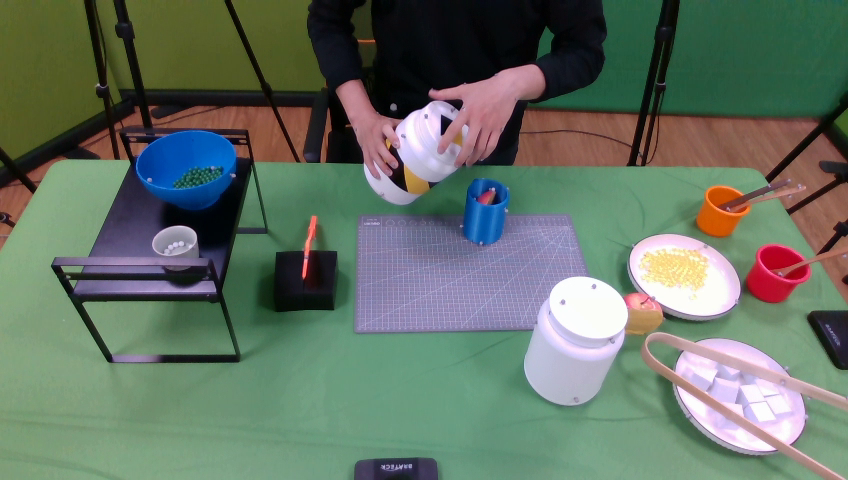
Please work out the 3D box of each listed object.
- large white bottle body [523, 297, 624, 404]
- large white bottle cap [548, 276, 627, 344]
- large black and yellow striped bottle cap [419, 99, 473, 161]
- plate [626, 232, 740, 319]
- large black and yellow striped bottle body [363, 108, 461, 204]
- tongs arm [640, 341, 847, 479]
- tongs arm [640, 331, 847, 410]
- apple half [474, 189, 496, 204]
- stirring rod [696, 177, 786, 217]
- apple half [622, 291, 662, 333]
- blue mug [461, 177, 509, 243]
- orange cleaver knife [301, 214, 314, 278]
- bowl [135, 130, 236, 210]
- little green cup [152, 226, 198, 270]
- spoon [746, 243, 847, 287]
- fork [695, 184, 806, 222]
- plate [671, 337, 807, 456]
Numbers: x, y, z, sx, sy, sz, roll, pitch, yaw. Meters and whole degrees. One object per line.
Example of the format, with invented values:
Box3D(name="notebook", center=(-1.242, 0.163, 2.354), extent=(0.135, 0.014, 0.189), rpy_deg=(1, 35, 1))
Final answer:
Box3D(name="large white bottle body", center=(0.235, 0.159, 0.952), extent=(0.131, 0.185, 0.130), rpy_deg=(2, 47, -2))
Box3D(name="large white bottle cap", center=(0.240, 0.100, 0.890), extent=(0.115, 0.018, 0.114), rpy_deg=(3, 47, -3))
Box3D(name="large black and yellow striped bottle cap", center=(0.040, -0.193, 1.064), extent=(0.115, 0.019, 0.114), rpy_deg=(21, 55, -34))
Box3D(name="plate", center=(0.488, 0.070, 1.157), extent=(0.209, 0.038, 0.208), rpy_deg=(3, 46, -3))
Box3D(name="large black and yellow striped bottle body", center=(-0.013, -0.160, 1.121), extent=(0.131, 0.184, 0.130), rpy_deg=(22, 54, -33))
Box3D(name="tongs arm", center=(0.500, 0.278, 0.919), extent=(0.386, 0.028, 0.028), rpy_deg=(34, 59, 22))
Box3D(name="tongs arm", center=(0.543, 0.226, 0.969), extent=(0.384, 0.026, 0.050), rpy_deg=(22, 52, 13))
Box3D(name="apple half", center=(0.110, -0.067, 1.200), extent=(0.032, 0.081, 0.081), rpy_deg=(28, 50, 12))
Box3D(name="stirring rod", center=(0.648, -0.087, 1.244), extent=(0.176, 0.006, 0.014), rpy_deg=(-25, 50, 29))
Box3D(name="apple half", center=(0.372, 0.124, 1.073), extent=(0.081, 0.075, 0.053), rpy_deg=(0, 42, 1))
Box3D(name="blue mug", center=(0.114, -0.070, 1.210), extent=(0.082, 0.106, 0.115), rpy_deg=(-12, 48, -15))
Box3D(name="orange cleaver knife", center=(-0.218, 0.008, 1.131), extent=(0.012, 0.077, 0.210), rpy_deg=(7, 19, -9))
Box3D(name="bowl", center=(-0.375, -0.102, 0.978), extent=(0.151, 0.077, 0.150), rpy_deg=(2, 46, -2))
Box3D(name="little green cup", center=(-0.364, 0.013, 0.894), extent=(0.061, 0.039, 0.061), rpy_deg=(3, 46, -3))
Box3D(name="spoon", center=(0.702, 0.043, 1.126), extent=(0.194, 0.022, 0.041), rpy_deg=(-29, 38, 30))
Box3D(name="fork", center=(0.658, -0.074, 1.230), extent=(0.207, 0.019, 0.028), rpy_deg=(-24, 34, 36))
Box3D(name="plate", center=(0.503, 0.254, 0.984), extent=(0.208, 0.039, 0.206), rpy_deg=(2, 46, -2))
